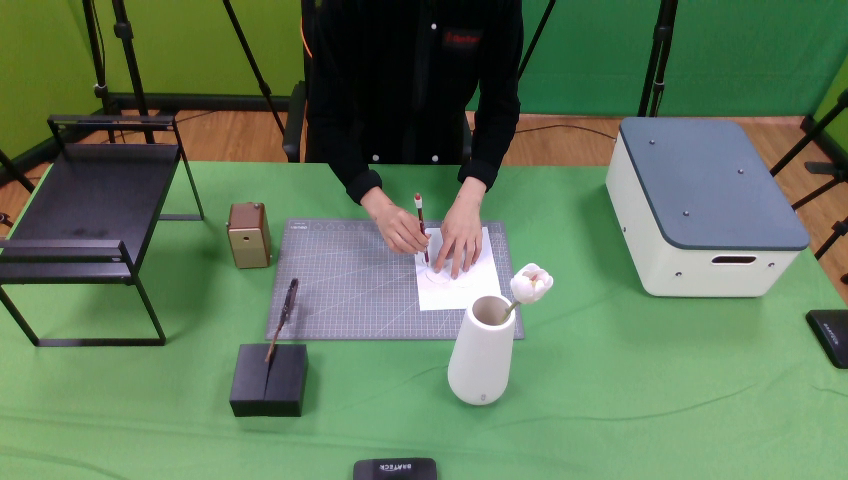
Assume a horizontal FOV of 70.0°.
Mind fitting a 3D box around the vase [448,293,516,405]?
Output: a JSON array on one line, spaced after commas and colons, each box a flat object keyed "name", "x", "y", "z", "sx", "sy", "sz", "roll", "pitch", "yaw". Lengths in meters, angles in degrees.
[{"name": "vase", "x": 0.091, "y": 0.169, "z": 0.921, "sx": 0.098, "sy": 0.201, "sz": 0.097, "roll": 3, "pitch": 47, "yaw": -3}]

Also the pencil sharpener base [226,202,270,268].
[{"name": "pencil sharpener base", "x": -0.323, "y": -0.010, "z": 1.123, "sx": 0.061, "sy": 0.107, "sz": 0.076, "roll": -3, "pitch": 46, "yaw": -7}]

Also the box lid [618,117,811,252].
[{"name": "box lid", "x": 0.534, "y": -0.117, "z": 1.148, "sx": 0.263, "sy": 0.015, "sz": 0.369, "roll": 0, "pitch": 47, "yaw": -3}]

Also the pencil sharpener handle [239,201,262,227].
[{"name": "pencil sharpener handle", "x": -0.325, "y": -0.056, "z": 1.150, "sx": 0.036, "sy": 0.068, "sz": 0.030, "roll": -13, "pitch": 46, "yaw": 4}]

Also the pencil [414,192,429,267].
[{"name": "pencil", "x": -0.003, "y": -0.014, "z": 1.085, "sx": 0.012, "sy": 0.195, "sz": 0.012, "roll": -4, "pitch": 48, "yaw": 4}]

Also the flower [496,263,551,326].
[{"name": "flower", "x": 0.102, "y": 0.120, "z": 0.853, "sx": 0.044, "sy": 0.363, "sz": 0.038, "roll": -2, "pitch": 64, "yaw": -10}]

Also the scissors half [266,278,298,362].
[{"name": "scissors half", "x": -0.234, "y": 0.127, "z": 0.993, "sx": 0.013, "sy": 0.040, "sz": 0.174, "roll": 12, "pitch": 46, "yaw": -4}]

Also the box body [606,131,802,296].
[{"name": "box body", "x": 0.530, "y": -0.067, "z": 1.204, "sx": 0.254, "sy": 0.161, "sz": 0.361, "roll": 0, "pitch": 46, "yaw": -4}]

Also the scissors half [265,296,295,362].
[{"name": "scissors half", "x": -0.239, "y": 0.143, "z": 1.005, "sx": 0.013, "sy": 0.040, "sz": 0.174, "roll": 17, "pitch": 27, "yaw": -6}]
